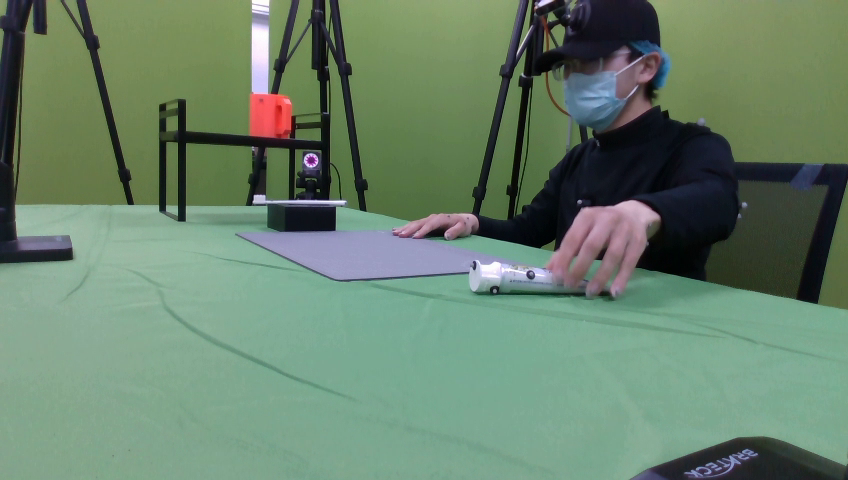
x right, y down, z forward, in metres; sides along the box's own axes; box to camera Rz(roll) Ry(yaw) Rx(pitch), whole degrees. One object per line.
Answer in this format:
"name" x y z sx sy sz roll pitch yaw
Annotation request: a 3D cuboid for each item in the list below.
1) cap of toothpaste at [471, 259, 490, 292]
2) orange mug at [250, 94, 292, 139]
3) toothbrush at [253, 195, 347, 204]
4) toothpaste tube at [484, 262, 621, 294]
"cap of toothpaste" 0.061 0.039 0.651 0.011 0.037 0.037 4 7 -18
"orange mug" -0.339 -0.279 1.364 0.125 0.100 0.084 4 6 45
"toothbrush" -0.234 -0.076 1.154 0.183 0.016 0.014 -1 4 -27
"toothpaste tube" 0.136 0.045 0.674 0.166 0.034 0.055 4 10 -18
